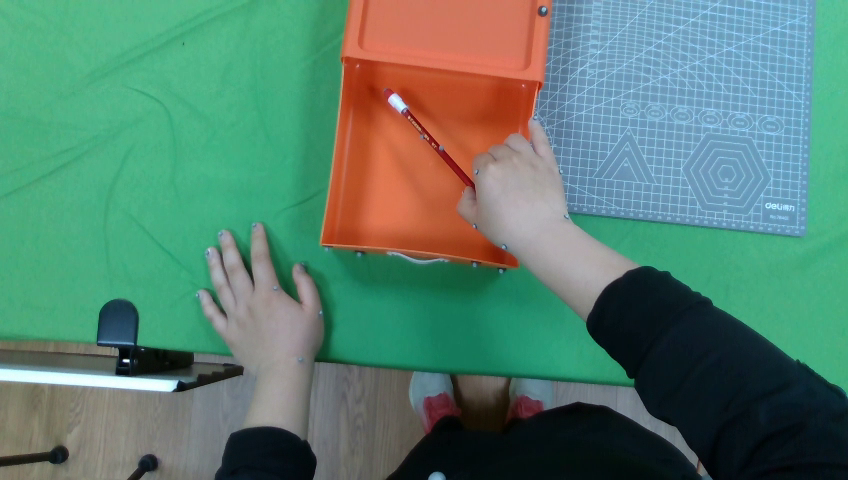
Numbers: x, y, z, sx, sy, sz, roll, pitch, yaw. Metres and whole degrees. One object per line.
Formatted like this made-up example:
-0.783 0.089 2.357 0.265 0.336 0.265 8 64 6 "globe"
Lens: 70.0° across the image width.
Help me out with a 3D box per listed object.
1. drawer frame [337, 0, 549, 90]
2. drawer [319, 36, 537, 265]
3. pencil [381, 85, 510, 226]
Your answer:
0.026 -0.263 0.628 0.202 0.083 0.213 6 84 0 "drawer frame"
0.006 -0.085 0.615 0.194 0.073 0.211 6 87 0 "drawer"
0.021 -0.085 0.605 0.012 0.012 0.193 -41 81 -4 "pencil"
